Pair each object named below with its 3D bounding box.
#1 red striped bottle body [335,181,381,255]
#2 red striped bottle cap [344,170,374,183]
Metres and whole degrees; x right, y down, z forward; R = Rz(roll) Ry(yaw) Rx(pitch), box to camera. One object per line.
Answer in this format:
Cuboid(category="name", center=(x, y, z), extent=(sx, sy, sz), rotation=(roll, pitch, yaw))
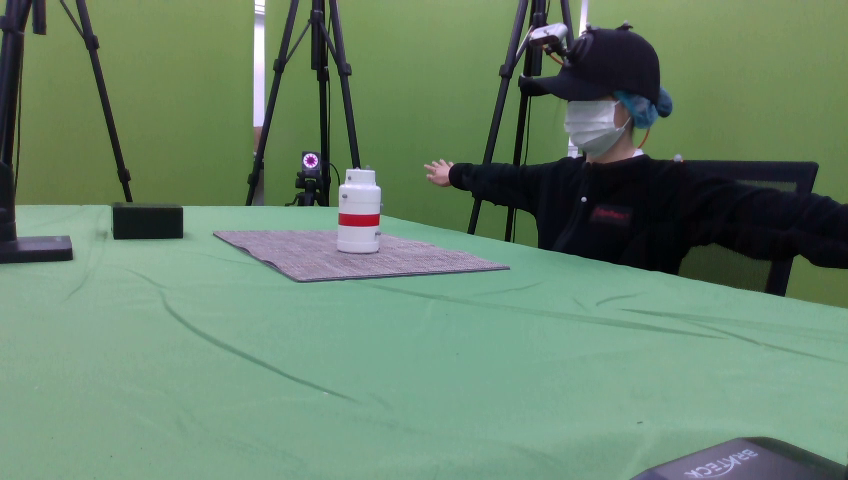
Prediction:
Cuboid(category="red striped bottle body", center=(-0.097, -0.042, 0.894), extent=(0.063, 0.119, 0.063), rotation=(4, 8, 0))
Cuboid(category="red striped bottle cap", center=(-0.094, -0.093, 0.887), extent=(0.044, 0.017, 0.044), rotation=(5, 5, 0))
